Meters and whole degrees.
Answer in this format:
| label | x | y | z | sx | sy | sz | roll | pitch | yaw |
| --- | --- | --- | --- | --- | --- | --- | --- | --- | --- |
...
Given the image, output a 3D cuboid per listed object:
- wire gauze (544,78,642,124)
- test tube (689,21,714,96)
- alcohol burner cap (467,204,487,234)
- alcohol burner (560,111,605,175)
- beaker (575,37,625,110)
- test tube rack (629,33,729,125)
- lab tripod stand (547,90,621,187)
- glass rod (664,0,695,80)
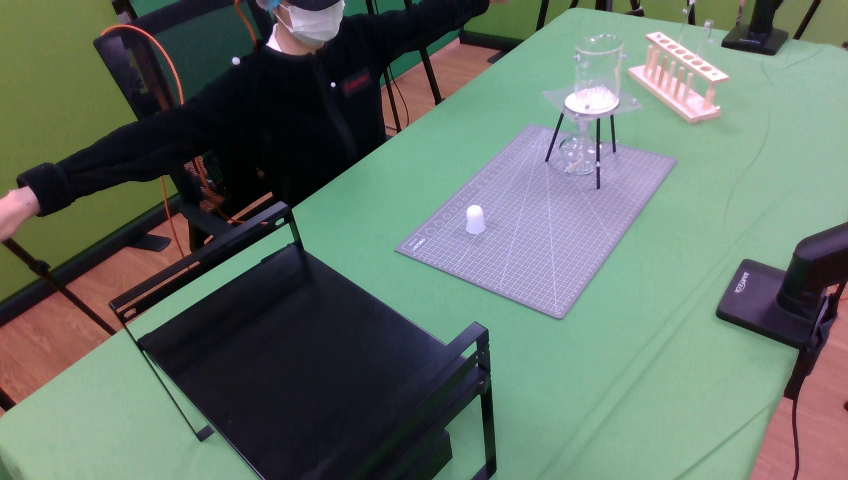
| label | x | y | z | sx | sy | sz | roll | pitch | yaw |
| --- | --- | --- | --- | --- | --- | --- | --- | --- | --- |
| wire gauze | 0.282 | -0.234 | 1.021 | 0.125 | 0.011 | 0.120 | -17 | 38 | -4 |
| test tube | 0.541 | -0.353 | 1.184 | 0.017 | 0.151 | 0.017 | -2 | 40 | 2 |
| alcohol burner cap | 0.085 | -0.037 | 0.993 | 0.034 | 0.048 | 0.033 | -4 | 41 | 4 |
| alcohol burner | 0.281 | -0.176 | 1.070 | 0.078 | 0.119 | 0.077 | -4 | 43 | 5 |
| beaker | 0.283 | -0.271 | 0.988 | 0.074 | 0.101 | 0.083 | -10 | 39 | 1 |
| test tube rack | 0.516 | -0.337 | 1.247 | 0.067 | 0.085 | 0.240 | -14 | 41 | -7 |
| lab tripod stand | 0.289 | -0.184 | 1.062 | 0.148 | 0.132 | 0.147 | -6 | 41 | 6 |
| glass rod | 0.523 | -0.415 | 1.235 | 0.008 | 0.200 | 0.008 | 1 | 47 | 0 |
